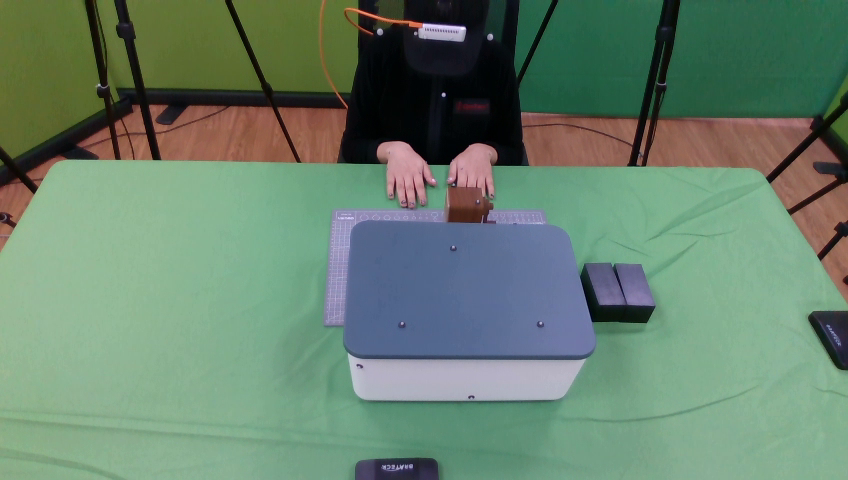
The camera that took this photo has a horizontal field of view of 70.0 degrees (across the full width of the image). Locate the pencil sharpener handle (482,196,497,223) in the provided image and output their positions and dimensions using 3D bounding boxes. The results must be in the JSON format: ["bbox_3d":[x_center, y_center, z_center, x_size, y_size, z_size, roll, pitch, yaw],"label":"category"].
[{"bbox_3d":[0.130,-0.055,1.182,0.031,0.068,0.036,2,43,-3],"label":"pencil sharpener handle"}]

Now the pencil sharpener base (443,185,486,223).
[{"bbox_3d":[0.078,-0.049,1.188,0.077,0.107,0.061,2,46,-3],"label":"pencil sharpener base"}]

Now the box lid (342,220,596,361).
[{"bbox_3d":[0.066,0.070,0.934,0.372,0.015,0.261,1,48,-4],"label":"box lid"}]

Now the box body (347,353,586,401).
[{"bbox_3d":[0.060,0.120,0.989,0.364,0.161,0.252,1,47,-4],"label":"box body"}]
